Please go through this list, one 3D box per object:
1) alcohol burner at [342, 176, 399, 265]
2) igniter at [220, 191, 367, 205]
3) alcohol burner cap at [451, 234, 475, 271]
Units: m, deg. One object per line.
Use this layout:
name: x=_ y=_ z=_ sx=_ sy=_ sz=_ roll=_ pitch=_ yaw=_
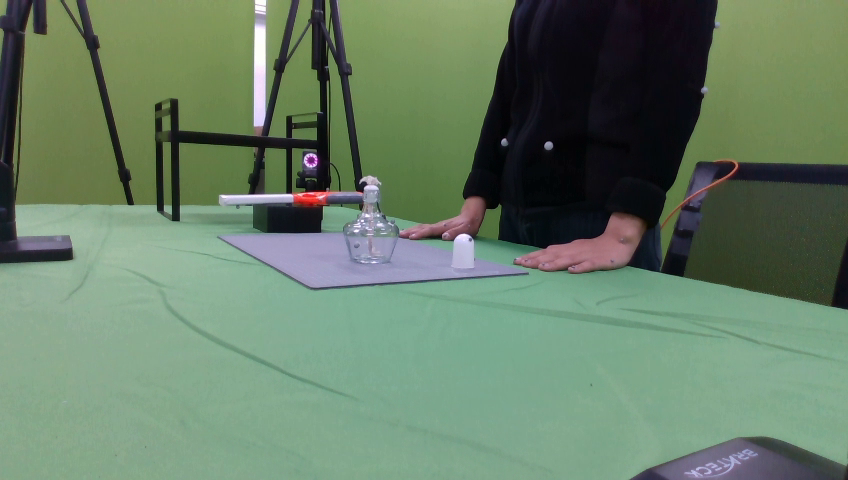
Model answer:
alcohol burner: x=-0.073 y=-0.027 z=0.818 sx=0.078 sy=0.119 sz=0.078 roll=1 pitch=6 yaw=0
igniter: x=-0.243 y=-0.079 z=1.152 sx=0.278 sy=0.025 sz=0.057 roll=-3 pitch=12 yaw=-26
alcohol burner cap: x=0.052 y=0.016 z=0.808 sx=0.034 sy=0.048 sz=0.034 roll=3 pitch=9 yaw=0
